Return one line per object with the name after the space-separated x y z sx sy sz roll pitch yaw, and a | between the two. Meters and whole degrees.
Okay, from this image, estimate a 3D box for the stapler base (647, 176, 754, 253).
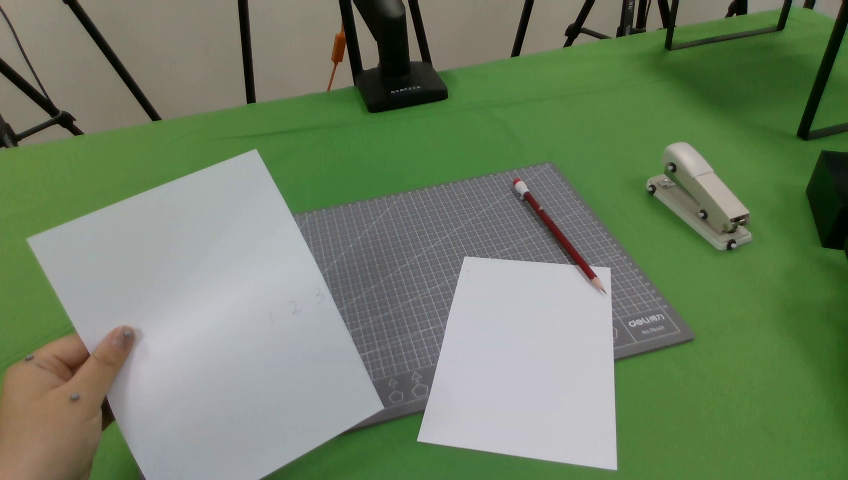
0.287 -0.036 0.634 0.041 0.025 0.129 -17 42 -11 | stapler base

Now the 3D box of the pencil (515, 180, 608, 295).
0.137 -0.008 0.621 0.012 0.012 0.191 -15 42 -12 | pencil

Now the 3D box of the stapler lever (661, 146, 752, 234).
0.286 -0.055 0.617 0.027 0.040 0.116 -18 43 -11 | stapler lever

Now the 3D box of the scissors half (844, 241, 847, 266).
0.389 -0.031 0.532 0.040 0.013 0.174 7 62 17 | scissors half
